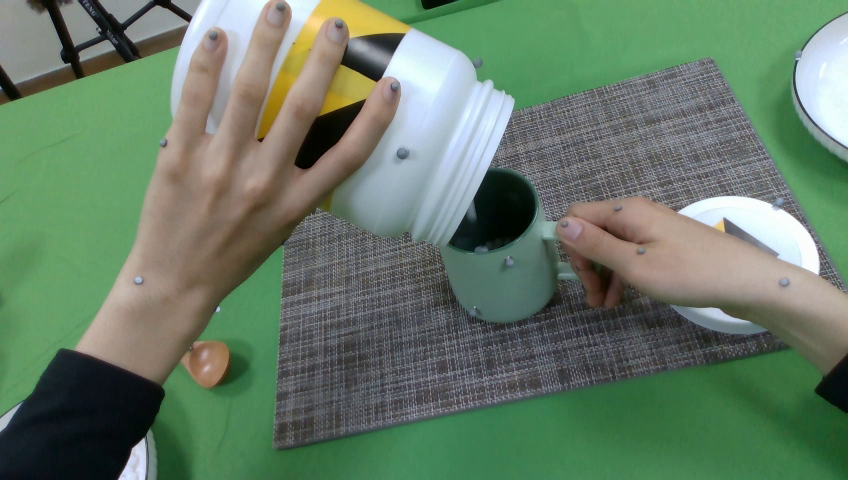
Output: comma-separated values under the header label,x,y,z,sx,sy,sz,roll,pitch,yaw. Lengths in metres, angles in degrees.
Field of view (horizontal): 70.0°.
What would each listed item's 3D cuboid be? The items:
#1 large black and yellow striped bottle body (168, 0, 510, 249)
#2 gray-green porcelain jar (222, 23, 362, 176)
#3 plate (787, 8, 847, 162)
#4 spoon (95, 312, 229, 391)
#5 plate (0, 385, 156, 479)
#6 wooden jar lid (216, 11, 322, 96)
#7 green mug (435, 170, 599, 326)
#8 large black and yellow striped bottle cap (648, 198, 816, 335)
label,x,y,z,sx,sy,sz,roll,pitch,yaw
large black and yellow striped bottle body,-0.049,-0.079,0.394,0.184,0.131,0.130,25,63,-4
gray-green porcelain jar,-0.127,-0.137,0.622,0.105,0.128,0.105,-10,50,12
plate,0.411,-0.122,0.494,0.207,0.039,0.205,-9,55,13
spoon,-0.251,0.096,0.570,0.192,0.022,0.041,15,79,26
plate,-0.308,0.223,0.492,0.209,0.038,0.207,-8,54,12
wooden jar lid,-0.144,-0.176,0.575,0.108,0.021,0.107,-11,53,15
green mug,0.070,0.009,0.468,0.125,0.106,0.092,3,58,21
large black and yellow striped bottle cap,0.234,0.018,0.465,0.115,0.019,0.114,-10,54,14
